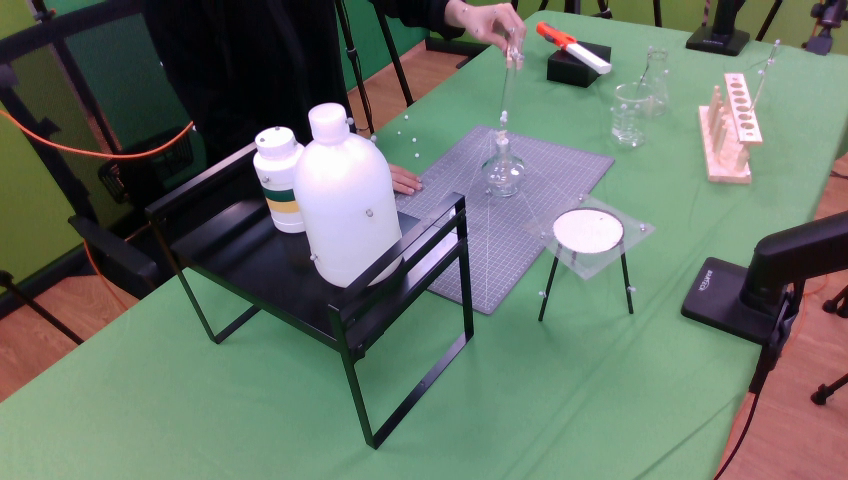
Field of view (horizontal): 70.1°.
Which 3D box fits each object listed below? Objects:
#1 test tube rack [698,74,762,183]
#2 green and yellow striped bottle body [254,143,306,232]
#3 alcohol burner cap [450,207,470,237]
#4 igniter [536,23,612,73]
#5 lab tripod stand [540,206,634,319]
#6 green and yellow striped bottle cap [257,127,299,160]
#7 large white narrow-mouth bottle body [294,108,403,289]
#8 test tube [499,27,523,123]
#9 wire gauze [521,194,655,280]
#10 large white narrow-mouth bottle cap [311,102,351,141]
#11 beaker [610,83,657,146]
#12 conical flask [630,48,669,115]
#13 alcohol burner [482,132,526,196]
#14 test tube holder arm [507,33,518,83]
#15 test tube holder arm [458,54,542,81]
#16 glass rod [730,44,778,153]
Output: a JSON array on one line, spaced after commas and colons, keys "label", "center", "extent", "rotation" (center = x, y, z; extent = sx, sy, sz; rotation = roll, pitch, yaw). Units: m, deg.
[{"label": "test tube rack", "center": [0.547, -0.208, 1.095], "extent": [0.066, 0.085, 0.242], "rotation": [5, 42, 15]}, {"label": "green and yellow striped bottle body", "center": [-0.165, -0.073, 0.732], "extent": [0.063, 0.120, 0.063], "rotation": [-4, 41, 4]}, {"label": "alcohol burner cap", "center": [0.057, -0.032, 0.987], "extent": [0.034, 0.048, 0.033], "rotation": [-4, 41, 4]}, {"label": "igniter", "center": [0.330, -0.439, 1.366], "extent": [0.057, 0.025, 0.274], "rotation": [-12, 40, -20]}, {"label": "lab tripod stand", "center": [0.218, 0.034, 0.821], "extent": [0.148, 0.132, 0.147], "rotation": [-4, 42, 4]}, {"label": "green and yellow striped bottle cap", "center": [-0.169, -0.112, 0.698], "extent": [0.045, 0.020, 0.045], "rotation": [-6, 40, 5]}, {"label": "large white narrow-mouth bottle body", "center": [-0.082, -0.047, 0.634], "extent": [0.102, 0.195, 0.101], "rotation": [-4, 39, 4]}, {"label": "test tube", "center": [0.137, -0.258, 0.956], "extent": [0.017, 0.150, 0.017], "rotation": [5, 30, -2]}, {"label": "wire gauze", "center": [0.207, -0.012, 0.772], "extent": [0.122, 0.011, 0.124], "rotation": [-28, 44, -20]}, {"label": "large white narrow-mouth bottle cap", "center": [-0.089, -0.114, 0.579], "extent": [0.038, 0.024, 0.037], "rotation": [-4, 39, 3]}, {"label": "beaker", "center": [0.388, -0.235, 1.138], "extent": [0.074, 0.101, 0.083], "rotation": [-31, 45, -25]}, {"label": "conical flask", "center": [0.457, -0.317, 1.205], "extent": [0.075, 0.122, 0.075], "rotation": [-4, 41, 4]}, {"label": "alcohol burner", "center": [0.137, -0.136, 1.042], "extent": [0.078, 0.119, 0.077], "rotation": [-4, 43, 4]}, {"label": "test tube holder arm", "center": [0.142, -0.289, 0.965], "extent": [0.010, 0.088, 0.015], "rotation": [26, 64, 25]}, {"label": "test tube holder arm", "center": [0.121, -0.284, 1.000], "extent": [0.177, 0.013, 0.015], "rotation": [4, 53, 48]}, {"label": "glass rod", "center": [0.554, -0.233, 1.020], "extent": [0.008, 0.200, 0.008], "rotation": [2, 39, -1]}]
